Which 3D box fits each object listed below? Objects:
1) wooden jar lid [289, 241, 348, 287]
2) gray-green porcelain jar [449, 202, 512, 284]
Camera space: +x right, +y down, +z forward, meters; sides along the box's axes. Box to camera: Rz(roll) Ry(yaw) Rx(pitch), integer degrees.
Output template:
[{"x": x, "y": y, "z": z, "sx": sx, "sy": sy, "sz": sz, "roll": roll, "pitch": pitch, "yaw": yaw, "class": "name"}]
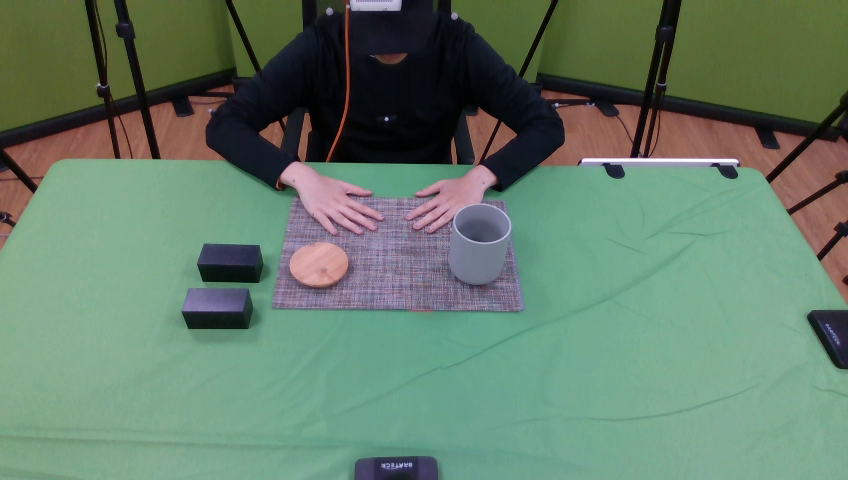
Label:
[{"x": -0.196, "y": 0.047, "z": 1.133, "sx": 0.108, "sy": 0.021, "sz": 0.107, "roll": 2, "pitch": 45, "yaw": -2, "class": "wooden jar lid"}, {"x": 0.101, "y": 0.010, "z": 1.116, "sx": 0.106, "sy": 0.127, "sz": 0.105, "roll": 2, "pitch": 47, "yaw": -2, "class": "gray-green porcelain jar"}]
